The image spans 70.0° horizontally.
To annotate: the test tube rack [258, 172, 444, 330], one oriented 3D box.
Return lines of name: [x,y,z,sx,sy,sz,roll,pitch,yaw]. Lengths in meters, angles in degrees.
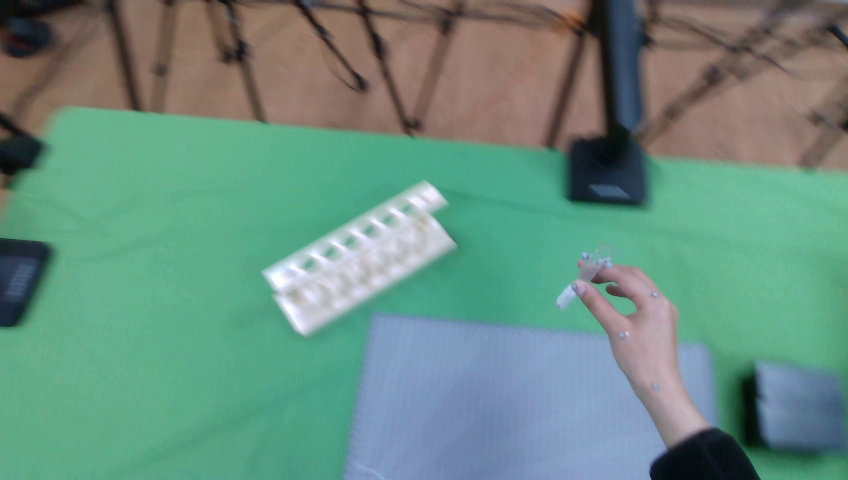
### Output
test tube rack: [-0.088,0.013,0.798,0.242,0.086,0.066,-32,68,-17]

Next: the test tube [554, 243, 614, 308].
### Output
test tube: [0.155,0.039,0.598,0.017,0.151,0.017,2,66,-4]
